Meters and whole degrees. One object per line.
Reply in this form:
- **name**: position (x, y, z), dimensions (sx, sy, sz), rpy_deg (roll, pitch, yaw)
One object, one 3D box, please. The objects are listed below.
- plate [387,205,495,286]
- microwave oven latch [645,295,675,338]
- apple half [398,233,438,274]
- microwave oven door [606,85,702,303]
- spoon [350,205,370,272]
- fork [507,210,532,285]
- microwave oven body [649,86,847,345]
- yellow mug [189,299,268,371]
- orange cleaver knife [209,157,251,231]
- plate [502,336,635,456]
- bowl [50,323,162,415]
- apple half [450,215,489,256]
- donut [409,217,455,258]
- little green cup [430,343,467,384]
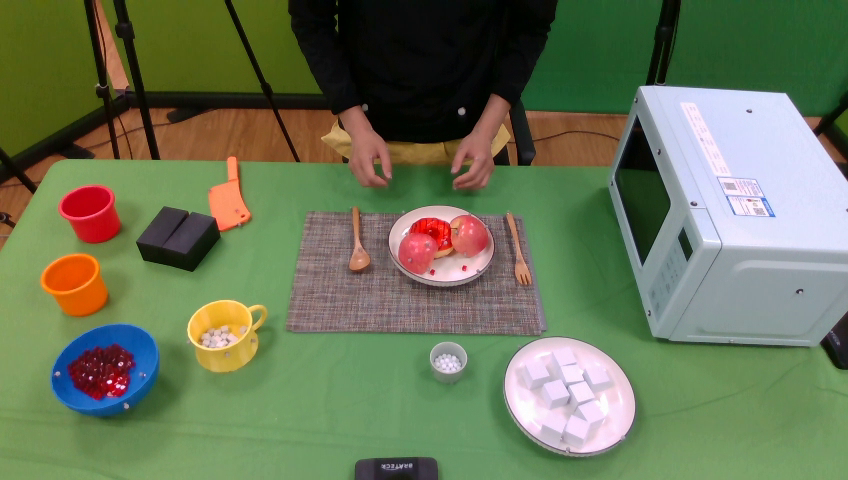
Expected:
- **plate**: position (0.033, 0.014, 1.171), dimensions (0.209, 0.038, 0.208), rpy_deg (2, 46, -2)
- **microwave oven latch**: position (0.412, 0.134, 1.061), dimensions (0.030, 0.029, 0.078), rpy_deg (3, 45, 0)
- **apple half**: position (-0.016, 0.022, 1.123), dimensions (0.081, 0.033, 0.081), rpy_deg (-2, 83, 14)
- **microwave oven door**: position (0.423, -0.094, 1.141), dimensions (0.039, 0.245, 0.353), rpy_deg (2, 46, -1)
- **spoon**: position (-0.130, -0.007, 1.190), dimensions (0.041, 0.022, 0.192), rpy_deg (-20, 47, 9)
- **fork**: position (0.185, 0.012, 1.197), dimensions (0.028, 0.019, 0.206), rpy_deg (-5, 48, 0)
- **microwave oven body**: position (0.568, -0.053, 1.118), dimensions (0.326, 0.261, 0.439), rpy_deg (2, 45, -1)
- **yellow mug**: position (-0.316, 0.148, 1.002), dimensions (0.131, 0.064, 0.099), rpy_deg (-33, 56, -31)
- **orange cleaver knife**: position (-0.409, -0.099, 1.266), dimensions (0.077, 0.012, 0.210), rpy_deg (-14, 50, -10)
- **plate**: position (0.225, 0.248, 0.964), dimensions (0.208, 0.039, 0.206), rpy_deg (2, 46, -2)
- **bowl**: position (-0.472, 0.209, 0.924), dimensions (0.151, 0.077, 0.150), rpy_deg (3, 45, -2)
- **apple half**: position (0.092, -0.013, 1.158), dimensions (0.075, 0.053, 0.080), rpy_deg (34, 39, -28)
- **donut**: position (0.019, -0.006, 1.174), dimensions (0.099, 0.048, 0.098), rpy_deg (3, 43, -2)
- **little green cup**: position (0.039, 0.203, 0.993), dimensions (0.061, 0.039, 0.061), rpy_deg (2, 46, -2)
